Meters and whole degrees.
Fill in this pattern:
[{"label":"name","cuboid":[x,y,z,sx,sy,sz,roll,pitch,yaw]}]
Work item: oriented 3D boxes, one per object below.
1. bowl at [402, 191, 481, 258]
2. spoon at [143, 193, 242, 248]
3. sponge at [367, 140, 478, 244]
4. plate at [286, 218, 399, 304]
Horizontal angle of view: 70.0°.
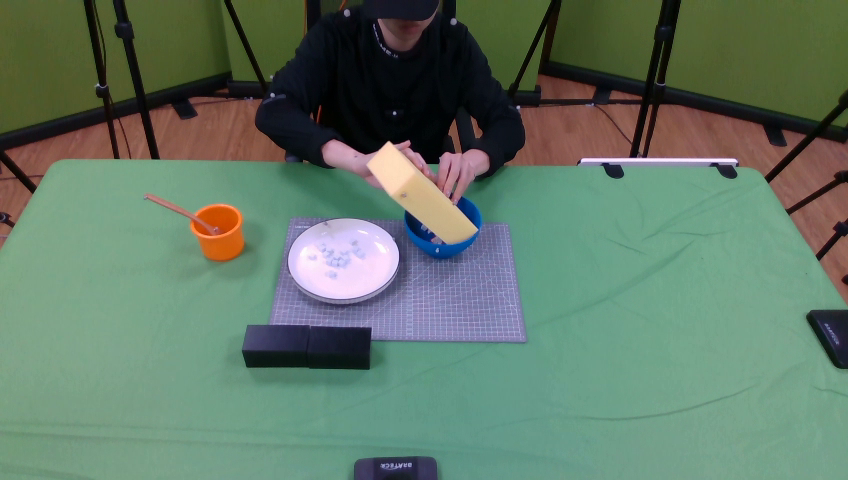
[{"label":"bowl","cuboid":[0.032,-0.017,1.174,0.151,0.077,0.150,3,46,-3]},{"label":"spoon","cuboid":[-0.421,-0.037,1.113,0.021,0.195,0.041,-37,37,23]},{"label":"sponge","cuboid":[0.000,-0.077,1.090,0.061,0.208,0.117,-44,45,5]},{"label":"plate","cuboid":[-0.150,0.041,1.131,0.209,0.038,0.208,2,45,-2]}]
